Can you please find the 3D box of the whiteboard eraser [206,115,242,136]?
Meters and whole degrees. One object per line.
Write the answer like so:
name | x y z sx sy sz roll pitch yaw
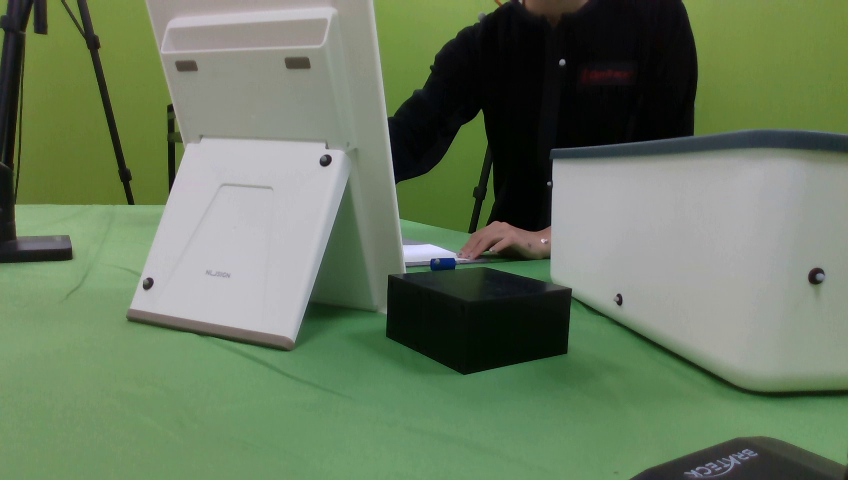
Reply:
whiteboard eraser | -0.438 -0.249 1.320 0.056 0.042 0.112 -3 9 -30

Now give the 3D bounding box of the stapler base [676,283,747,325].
stapler base | 0.283 0.057 0.585 0.041 0.024 0.131 29 18 34

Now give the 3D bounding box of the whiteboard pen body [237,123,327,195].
whiteboard pen body | -0.143 -0.083 0.616 0.017 0.017 0.141 7 38 29

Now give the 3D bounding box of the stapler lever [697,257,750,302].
stapler lever | 0.290 0.035 0.580 0.026 0.040 0.119 29 19 34

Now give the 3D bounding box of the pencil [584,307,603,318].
pencil | 0.250 0.054 0.656 0.195 0.012 0.012 -14 14 -26

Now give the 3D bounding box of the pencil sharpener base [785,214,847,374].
pencil sharpener base | 0.322 0.038 0.441 0.077 0.107 0.061 1 8 -18

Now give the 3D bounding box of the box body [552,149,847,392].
box body | 0.290 0.002 0.549 0.255 0.160 0.363 2 7 -10

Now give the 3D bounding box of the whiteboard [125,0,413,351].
whiteboard | -0.151 -0.050 0.471 0.216 0.305 0.144 6 27 24

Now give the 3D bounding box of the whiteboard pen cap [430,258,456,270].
whiteboard pen cap | 0.024 0.031 0.791 0.033 0.018 0.018 1 8 -12

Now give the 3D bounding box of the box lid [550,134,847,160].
box lid | 0.294 -0.071 0.538 0.264 0.015 0.370 2 6 -10
